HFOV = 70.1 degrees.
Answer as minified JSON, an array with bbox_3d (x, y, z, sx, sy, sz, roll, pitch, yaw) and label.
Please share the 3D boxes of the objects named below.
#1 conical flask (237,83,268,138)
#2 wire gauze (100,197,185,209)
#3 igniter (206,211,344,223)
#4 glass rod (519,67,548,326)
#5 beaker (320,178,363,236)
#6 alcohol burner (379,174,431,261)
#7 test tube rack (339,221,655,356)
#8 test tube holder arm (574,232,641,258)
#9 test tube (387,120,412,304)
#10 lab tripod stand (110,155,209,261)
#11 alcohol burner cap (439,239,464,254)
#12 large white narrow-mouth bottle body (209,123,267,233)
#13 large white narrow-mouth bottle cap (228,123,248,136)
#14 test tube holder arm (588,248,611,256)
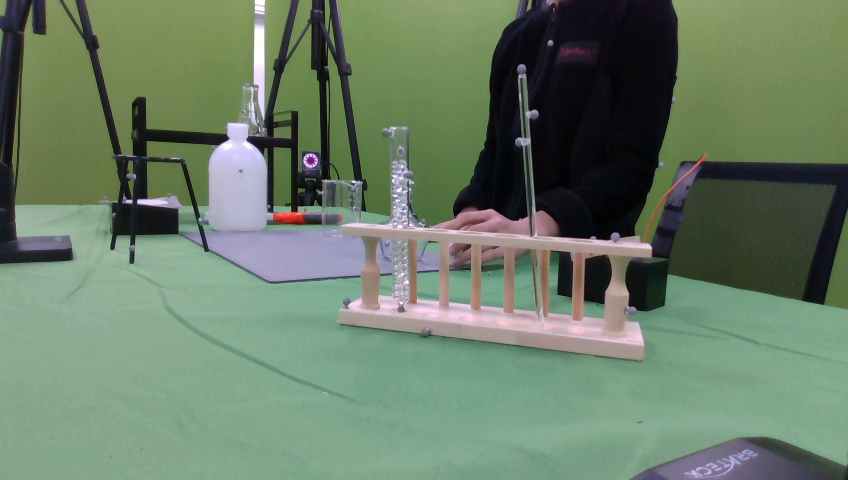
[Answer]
[{"bbox_3d":[-0.402,-0.299,1.406,0.075,0.122,0.075,2,7,0],"label":"conical flask"},{"bbox_3d":[-0.469,-0.062,1.008,0.126,0.011,0.121,-2,8,-25],"label":"wire gauze"},{"bbox_3d":[-0.302,-0.048,1.249,0.278,0.025,0.057,-2,-2,-26],"label":"igniter"},{"bbox_3d":[0.084,-0.029,0.459,0.008,0.199,0.008,-7,11,2],"label":"glass rod"},{"bbox_3d":[-0.145,-0.059,1.078,0.074,0.100,0.083,-4,10,-36],"label":"beaker"},{"bbox_3d":[-0.027,-0.031,0.838,0.078,0.119,0.078,0,6,0],"label":"alcohol burner"},{"bbox_3d":[0.056,0.032,0.495,0.242,0.085,0.067,4,7,15],"label":"test tube rack"},{"bbox_3d":[0.202,0.003,0.651,0.013,0.015,0.179,-4,2,36],"label":"test tube holder arm"},{"bbox_3d":[-0.019,-0.021,0.488,0.017,0.150,0.017,-1,13,1],"label":"test tube"},{"bbox_3d":[-0.361,-0.046,0.806,0.148,0.131,0.148,2,5,0],"label":"lab tripod stand"},{"bbox_3d":[0.039,-0.001,0.804,0.034,0.034,0.048,3,7,7],"label":"alcohol burner cap"},{"bbox_3d":[-0.340,-0.115,1.109,0.102,0.194,0.102,2,8,0],"label":"large white narrow-mouth bottle body"},{"bbox_3d":[-0.338,-0.200,1.097,0.038,0.024,0.037,2,8,0],"label":"large white narrow-mouth bottle cap"},{"bbox_3d":[0.180,0.006,0.611,0.010,0.015,0.088,-4,2,36],"label":"test tube holder arm"}]
